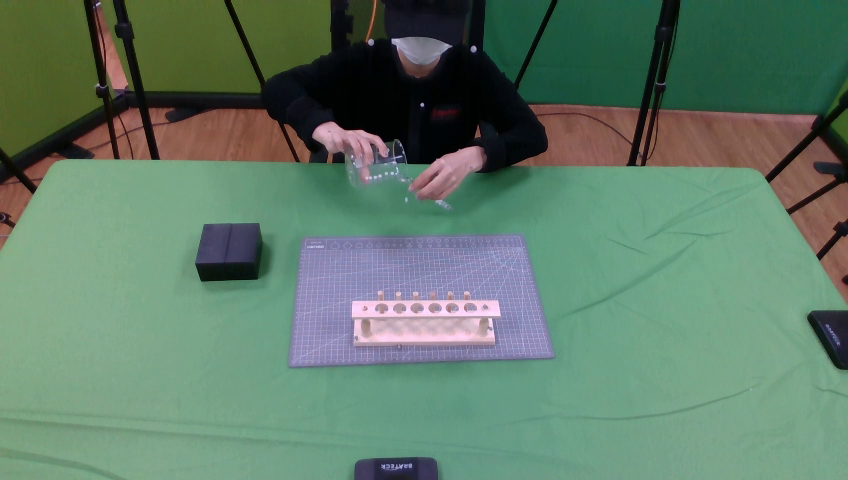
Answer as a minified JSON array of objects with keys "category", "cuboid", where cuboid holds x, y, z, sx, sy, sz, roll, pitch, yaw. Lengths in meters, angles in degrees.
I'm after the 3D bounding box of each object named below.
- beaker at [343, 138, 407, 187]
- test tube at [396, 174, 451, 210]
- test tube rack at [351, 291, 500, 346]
[{"category":"beaker","cuboid":[-0.091,-0.137,1.107,0.100,0.084,0.073,-14,38,-17]},{"category":"test tube","cuboid":[0.002,-0.092,1.193,0.151,0.017,0.017,28,30,-41]},{"category":"test tube rack","cuboid":[0.001,0.129,1.026,0.242,0.085,0.066,0,46,-4]}]
